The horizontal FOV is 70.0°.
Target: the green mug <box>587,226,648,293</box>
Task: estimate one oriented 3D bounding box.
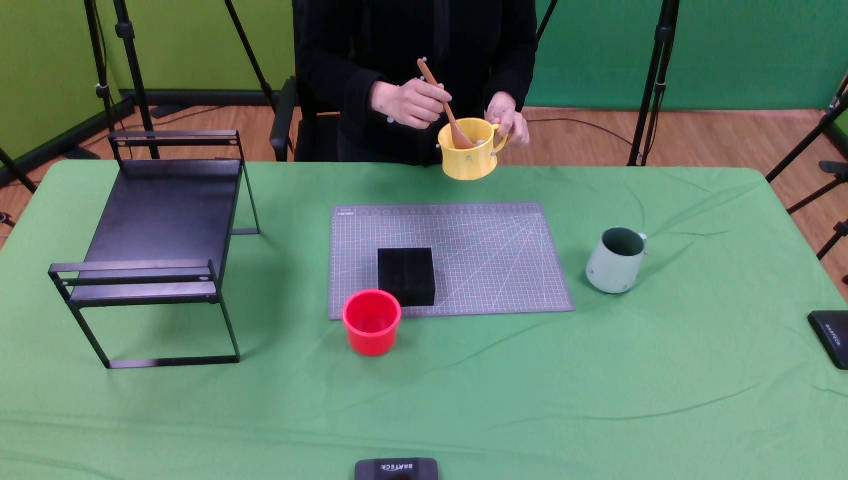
[{"bbox_3d":[0.372,0.030,1.136,0.125,0.105,0.092,-27,53,-26],"label":"green mug"}]

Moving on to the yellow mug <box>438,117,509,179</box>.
[{"bbox_3d":[0.092,-0.169,1.071,0.131,0.064,0.099,-22,44,-12],"label":"yellow mug"}]

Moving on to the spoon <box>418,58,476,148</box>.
[{"bbox_3d":[0.038,-0.217,1.005,0.041,0.194,0.021,-3,38,44],"label":"spoon"}]
